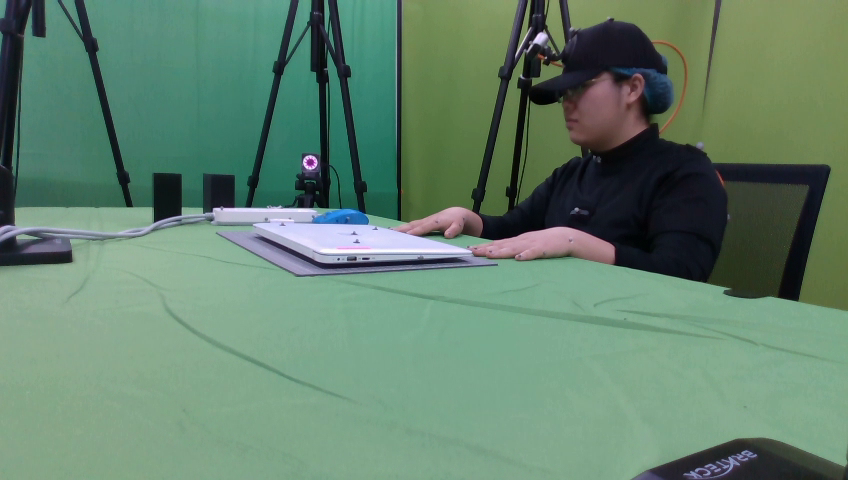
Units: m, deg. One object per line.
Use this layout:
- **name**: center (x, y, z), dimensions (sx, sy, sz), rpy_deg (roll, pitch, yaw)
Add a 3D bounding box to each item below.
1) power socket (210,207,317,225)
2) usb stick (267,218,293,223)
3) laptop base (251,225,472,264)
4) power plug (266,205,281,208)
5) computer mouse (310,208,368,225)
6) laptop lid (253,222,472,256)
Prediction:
- **power socket**: center (-0.335, -0.051, 1.282), dimensions (0.228, 0.032, 0.072), rpy_deg (-1, 9, -28)
- **usb stick**: center (-0.272, -0.026, 1.107), dimensions (0.059, 0.027, 0.021), rpy_deg (-3, 12, -28)
- **laptop base**: center (-0.115, 0.007, 0.955), dimensions (0.237, 0.023, 0.352), rpy_deg (2, 6, -31)
- **power plug**: center (-0.343, -0.056, 1.365), dimensions (0.053, 0.035, 0.072), rpy_deg (-22, -9, -15)
- **computer mouse**: center (-0.179, -0.045, 1.275), dimensions (0.118, 0.041, 0.062), rpy_deg (-6, 13, -29)
- **laptop lid**: center (-0.113, -0.005, 0.955), dimensions (0.243, 0.013, 0.355), rpy_deg (1, 7, -29)
